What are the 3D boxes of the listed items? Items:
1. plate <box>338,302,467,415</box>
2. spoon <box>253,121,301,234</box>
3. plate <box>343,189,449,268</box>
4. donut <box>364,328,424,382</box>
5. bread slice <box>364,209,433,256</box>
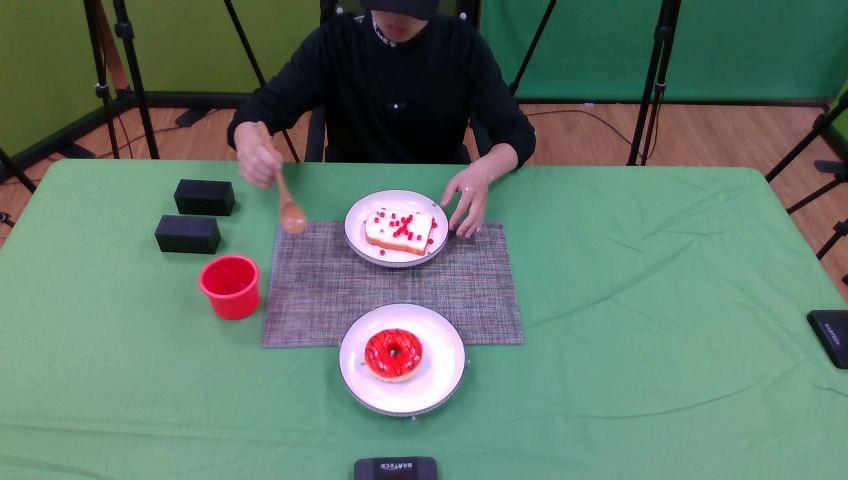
[{"bbox_3d":[-0.035,0.194,0.992,0.208,0.039,0.206,2,48,-2],"label":"plate"},{"bbox_3d":[-0.248,-0.103,1.012,0.041,0.194,0.021,-19,17,-17],"label":"spoon"},{"bbox_3d":[-0.055,-0.020,1.195,0.209,0.038,0.208,3,46,-2],"label":"plate"},{"bbox_3d":[-0.049,0.185,0.984,0.099,0.048,0.098,1,45,-1],"label":"donut"},{"bbox_3d":[-0.053,-0.019,1.199,0.131,0.019,0.104,11,46,3],"label":"bread slice"}]
